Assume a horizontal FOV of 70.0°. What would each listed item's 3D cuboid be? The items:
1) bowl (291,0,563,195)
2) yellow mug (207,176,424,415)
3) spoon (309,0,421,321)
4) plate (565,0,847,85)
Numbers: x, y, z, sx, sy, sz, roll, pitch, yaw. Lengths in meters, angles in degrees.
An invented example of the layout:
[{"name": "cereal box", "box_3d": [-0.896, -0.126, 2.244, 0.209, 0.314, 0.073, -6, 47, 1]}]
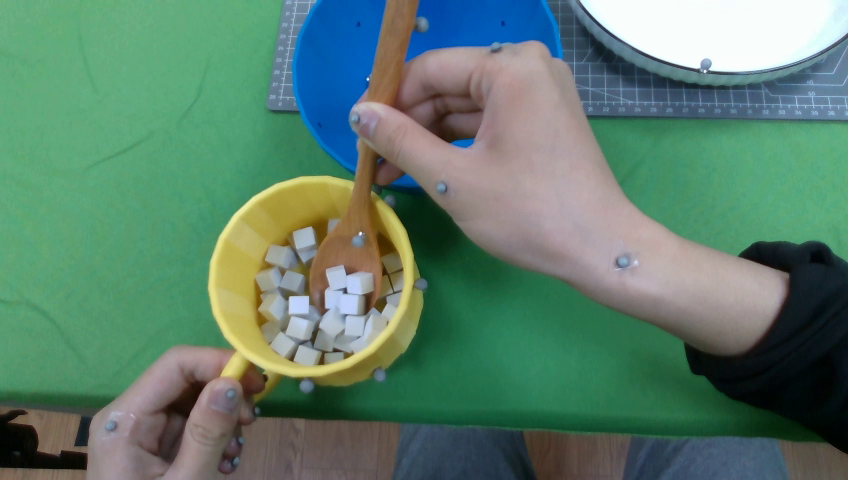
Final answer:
[{"name": "bowl", "box_3d": [0.004, -0.089, 0.369, 0.151, 0.077, 0.150, -1, 75, 5]}, {"name": "yellow mug", "box_3d": [-0.061, 0.036, 0.316, 0.099, 0.064, 0.130, 34, 79, 13]}, {"name": "spoon", "box_3d": [-0.025, -0.036, 0.286, 0.041, 0.195, 0.021, 23, 37, 8]}, {"name": "plate", "box_3d": [0.190, -0.190, 0.407, 0.209, 0.038, 0.207, -1, 71, 4]}]
